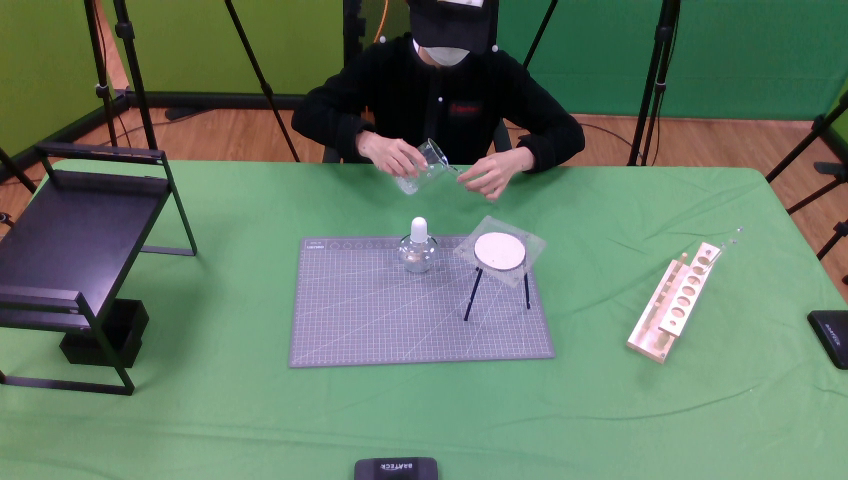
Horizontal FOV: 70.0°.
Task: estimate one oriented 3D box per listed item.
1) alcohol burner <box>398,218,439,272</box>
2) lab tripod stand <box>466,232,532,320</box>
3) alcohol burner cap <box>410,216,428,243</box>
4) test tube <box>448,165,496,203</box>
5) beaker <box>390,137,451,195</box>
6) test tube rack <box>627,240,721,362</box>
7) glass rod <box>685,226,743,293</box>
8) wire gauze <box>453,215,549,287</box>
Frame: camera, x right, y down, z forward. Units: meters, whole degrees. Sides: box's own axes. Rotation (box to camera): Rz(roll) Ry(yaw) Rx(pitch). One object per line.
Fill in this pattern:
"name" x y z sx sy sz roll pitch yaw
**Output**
"alcohol burner" -0.010 0.004 1.123 0.078 0.120 0.077 1 47 0
"lab tripod stand" 0.125 0.059 1.065 0.148 0.132 0.147 1 45 0
"alcohol burner cap" -0.009 -0.022 1.099 0.034 0.048 0.033 1 42 -1
"test tube" 0.100 -0.113 1.234 0.017 0.151 0.017 -23 52 34
"beaker" -0.007 -0.138 1.169 0.100 0.084 0.073 -33 45 14
"test tube rack" 0.452 0.098 1.087 0.066 0.085 0.242 28 51 22
"glass rod" 0.500 0.040 1.054 0.008 0.200 0.008 4 53 -5
"wire gauze" 0.129 0.012 1.017 0.124 0.011 0.121 28 50 23
